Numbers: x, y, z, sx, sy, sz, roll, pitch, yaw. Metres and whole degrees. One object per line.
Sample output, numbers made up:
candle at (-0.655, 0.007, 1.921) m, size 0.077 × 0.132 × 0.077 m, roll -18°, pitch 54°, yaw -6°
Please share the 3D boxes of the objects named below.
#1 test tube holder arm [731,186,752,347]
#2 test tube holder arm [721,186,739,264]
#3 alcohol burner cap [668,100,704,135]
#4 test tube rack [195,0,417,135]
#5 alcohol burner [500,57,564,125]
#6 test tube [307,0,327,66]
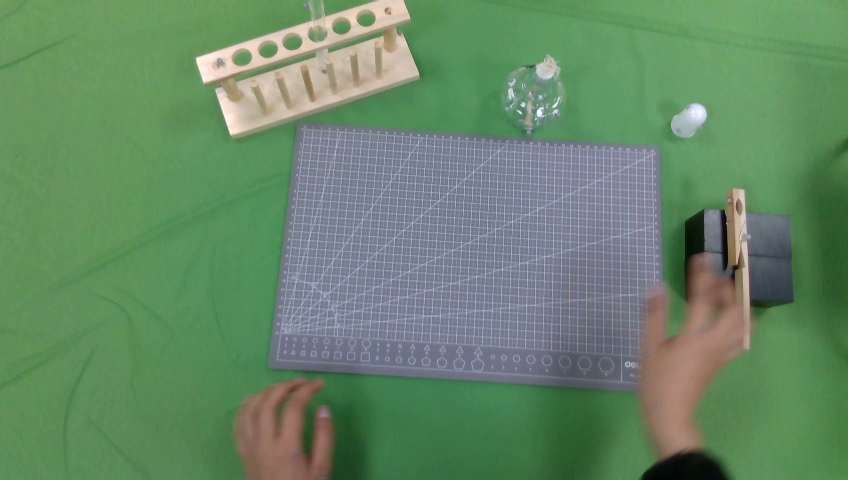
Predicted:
test tube holder arm at (0.348, 0.028, 0.669) m, size 0.013 × 0.015 × 0.177 m, roll 0°, pitch 79°, yaw -3°
test tube holder arm at (0.343, -0.017, 0.677) m, size 0.010 × 0.015 × 0.087 m, roll 2°, pitch 79°, yaw -2°
alcohol burner cap at (0.324, -0.152, 0.744) m, size 0.034 × 0.048 × 0.033 m, roll 0°, pitch 76°, yaw 0°
test tube rack at (-0.132, -0.208, 0.718) m, size 0.242 × 0.085 × 0.066 m, roll -20°, pitch 78°, yaw -6°
alcohol burner at (0.130, -0.182, 0.708) m, size 0.078 × 0.119 × 0.077 m, roll 1°, pitch 78°, yaw -3°
test tube at (-0.119, -0.242, 0.675) m, size 0.017 × 0.151 × 0.017 m, roll 2°, pitch 70°, yaw -5°
